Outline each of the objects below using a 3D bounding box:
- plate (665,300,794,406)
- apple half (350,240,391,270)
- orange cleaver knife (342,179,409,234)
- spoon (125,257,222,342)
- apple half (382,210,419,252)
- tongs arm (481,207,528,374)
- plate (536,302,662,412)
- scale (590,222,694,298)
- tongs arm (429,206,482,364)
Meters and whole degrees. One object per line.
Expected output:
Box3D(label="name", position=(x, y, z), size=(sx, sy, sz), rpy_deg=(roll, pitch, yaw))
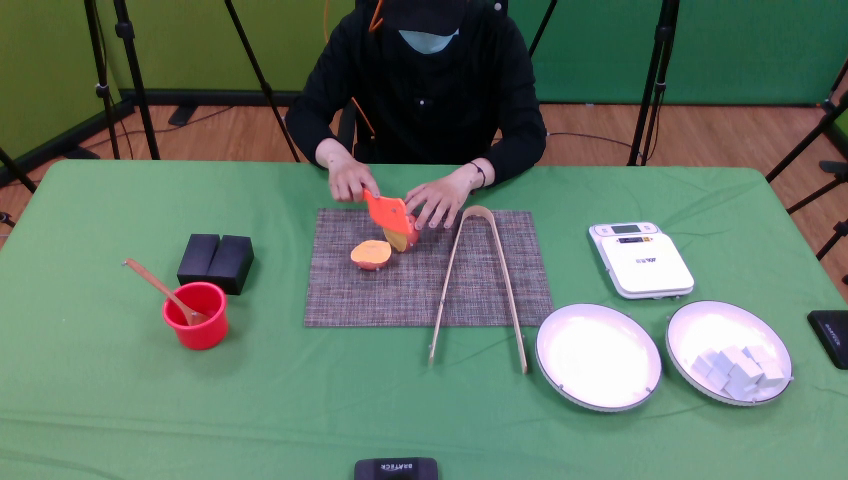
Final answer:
Box3D(label="plate", position=(0.513, 0.194, 1.034), size=(0.208, 0.039, 0.206), rpy_deg=(2, 46, -2))
Box3D(label="apple half", position=(-0.097, 0.033, 1.146), size=(0.081, 0.033, 0.081), rpy_deg=(-4, 33, 3))
Box3D(label="orange cleaver knife", position=(-0.094, -0.066, 1.147), size=(0.012, 0.077, 0.210), rpy_deg=(-24, 31, -31))
Box3D(label="spoon", position=(-0.408, 0.096, 0.990), size=(0.194, 0.021, 0.041), rpy_deg=(50, 54, -18))
Box3D(label="apple half", position=(-0.039, -0.022, 1.175), size=(0.053, 0.075, 0.080), rpy_deg=(-28, 51, -31))
Box3D(label="tongs arm", position=(0.149, 0.077, 1.124), size=(0.028, 0.028, 0.385), rpy_deg=(-4, 46, -2))
Box3D(label="plate", position=(0.288, 0.197, 1.016), size=(0.209, 0.038, 0.208), rpy_deg=(2, 46, -2))
Box3D(label="scale", position=(0.424, 0.031, 1.189), size=(0.149, 0.032, 0.199), rpy_deg=(-3, 46, -7))
Box3D(label="tongs arm", position=(0.064, 0.069, 1.124), size=(0.051, 0.026, 0.382), rpy_deg=(8, 45, 5))
